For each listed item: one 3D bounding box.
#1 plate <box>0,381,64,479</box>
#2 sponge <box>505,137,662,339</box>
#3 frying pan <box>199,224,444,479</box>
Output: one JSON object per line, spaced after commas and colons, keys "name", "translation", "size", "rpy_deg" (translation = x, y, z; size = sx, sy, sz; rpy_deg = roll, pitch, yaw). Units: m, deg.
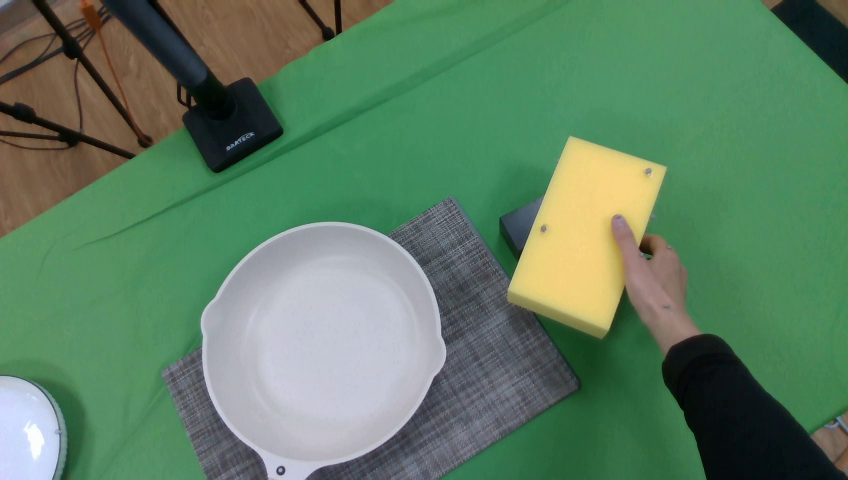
{"name": "plate", "translation": [-0.554, 0.287, 0.774], "size": [0.207, 0.039, 0.206], "rpy_deg": [-2, 72, 6]}
{"name": "sponge", "translation": [0.186, -0.004, 0.711], "size": [0.118, 0.061, 0.206], "rpy_deg": [20, 75, 13]}
{"name": "frying pan", "translation": [-0.145, 0.218, 0.707], "size": [0.306, 0.103, 0.484], "rpy_deg": [8, 65, 11]}
